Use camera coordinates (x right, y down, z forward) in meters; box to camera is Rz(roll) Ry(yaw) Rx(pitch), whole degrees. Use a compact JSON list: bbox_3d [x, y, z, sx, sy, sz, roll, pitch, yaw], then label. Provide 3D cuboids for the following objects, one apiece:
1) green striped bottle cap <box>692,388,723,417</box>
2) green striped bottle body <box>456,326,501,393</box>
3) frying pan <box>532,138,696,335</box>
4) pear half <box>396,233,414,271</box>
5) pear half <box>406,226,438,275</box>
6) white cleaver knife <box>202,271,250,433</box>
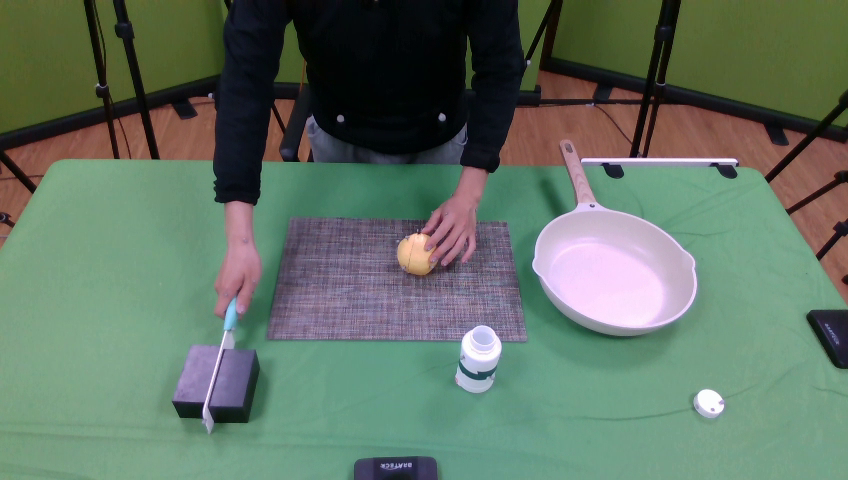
[{"bbox_3d":[0.460,0.263,0.984,0.044,0.020,0.044,3,46,-3],"label":"green striped bottle cap"},{"bbox_3d":[0.086,0.186,0.959,0.063,0.120,0.063,2,47,-2],"label":"green striped bottle body"},{"bbox_3d":[0.336,-0.024,1.190,0.307,0.103,0.484,-2,55,-7],"label":"frying pan"},{"bbox_3d":[-0.037,0.018,1.125,0.031,0.088,0.070,5,50,-1],"label":"pear half"},{"bbox_3d":[-0.001,0.015,1.117,0.056,0.110,0.076,5,50,-2],"label":"pear half"},{"bbox_3d":[-0.322,0.168,0.980,0.021,0.066,0.284,8,48,-6],"label":"white cleaver knife"}]
